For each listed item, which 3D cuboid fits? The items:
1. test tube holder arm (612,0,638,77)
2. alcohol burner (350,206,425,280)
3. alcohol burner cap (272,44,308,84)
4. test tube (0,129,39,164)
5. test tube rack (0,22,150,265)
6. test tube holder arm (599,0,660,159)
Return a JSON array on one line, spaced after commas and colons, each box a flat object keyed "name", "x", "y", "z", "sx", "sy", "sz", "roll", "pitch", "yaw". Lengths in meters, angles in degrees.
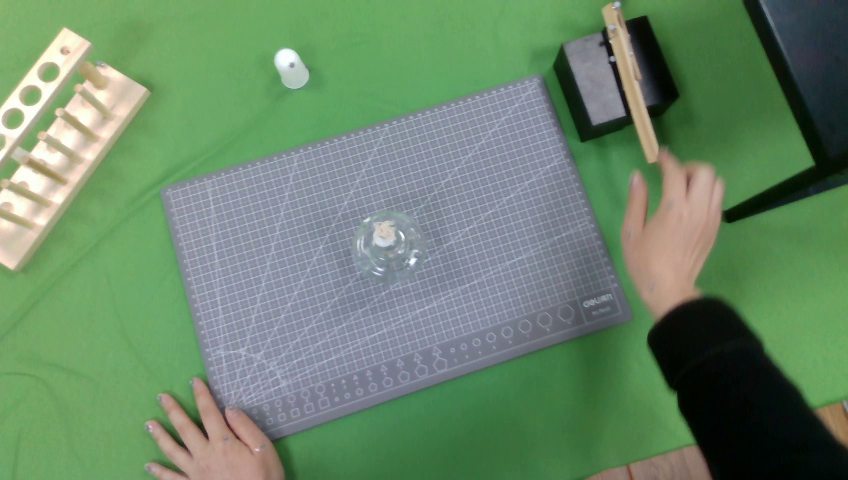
[{"name": "test tube holder arm", "x": 0.211, "y": -0.214, "z": 0.649, "sx": 0.010, "sy": 0.015, "sz": 0.087, "roll": -5, "pitch": 78, "yaw": -34}, {"name": "alcohol burner", "x": -0.038, "y": -0.001, "z": 0.609, "sx": 0.078, "sy": 0.119, "sz": 0.077, "roll": 0, "pitch": 78, "yaw": 2}, {"name": "alcohol burner cap", "x": -0.152, "y": -0.201, "z": 0.680, "sx": 0.034, "sy": 0.048, "sz": 0.033, "roll": -1, "pitch": 76, "yaw": 4}, {"name": "test tube", "x": -0.423, "y": -0.107, "z": 0.589, "sx": 0.017, "sy": 0.151, "sz": 0.017, "roll": 0, "pitch": 75, "yaw": -1}, {"name": "test tube rack", "x": -0.405, "y": -0.098, "z": 0.638, "sx": 0.066, "sy": 0.085, "sz": 0.242, "roll": 31, "pitch": 81, "yaw": 5}, {"name": "test tube holder arm", "x": 0.216, "y": -0.170, "z": 0.639, "sx": 0.013, "sy": 0.015, "sz": 0.177, "roll": -6, "pitch": 79, "yaw": -34}]
